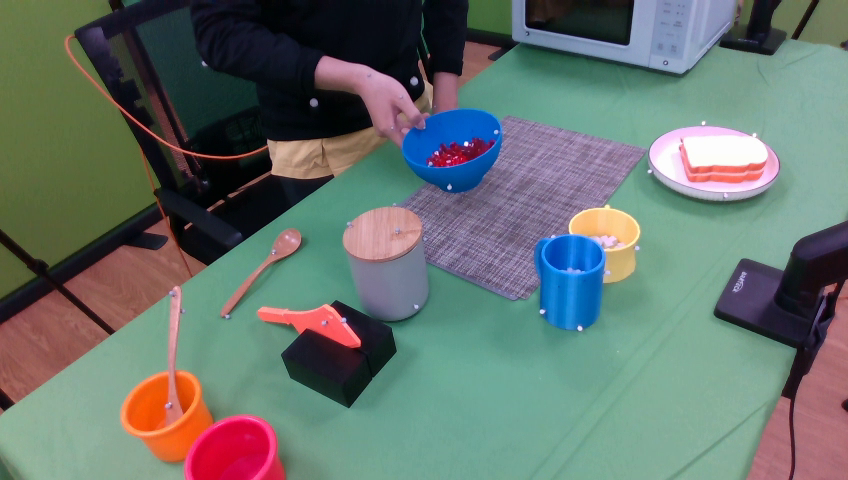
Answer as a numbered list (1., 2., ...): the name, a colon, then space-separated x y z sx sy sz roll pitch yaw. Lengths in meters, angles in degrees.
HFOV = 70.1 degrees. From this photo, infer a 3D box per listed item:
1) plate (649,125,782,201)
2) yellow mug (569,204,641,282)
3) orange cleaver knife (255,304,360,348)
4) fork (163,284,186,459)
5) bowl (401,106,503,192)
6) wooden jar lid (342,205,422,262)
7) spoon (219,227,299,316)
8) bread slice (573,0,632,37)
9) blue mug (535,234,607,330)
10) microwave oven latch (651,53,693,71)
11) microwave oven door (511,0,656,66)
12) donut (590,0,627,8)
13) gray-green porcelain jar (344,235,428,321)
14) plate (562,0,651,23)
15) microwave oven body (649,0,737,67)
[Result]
1. plate: 0.493 -0.128 1.036 0.207 0.039 0.206 -4 41 4
2. yellow mug: 0.268 -0.005 0.904 0.099 0.064 0.130 7 41 15
3. orange cleaver knife: -0.161 0.115 0.813 0.210 0.077 0.012 -4 32 46
4. fork: -0.302 0.157 0.733 0.028 0.019 0.207 -4 84 16
5. bowl: 0.047 -0.125 0.897 0.151 0.077 0.150 -9 42 8
6. wooden jar lid: -0.055 -0.006 0.808 0.108 0.021 0.108 -6 40 6
7. spoon: -0.261 0.046 0.954 0.041 0.021 0.194 27 48 10
8. bread slice: 0.429 -0.559 1.478 0.105 0.019 0.131 -27 69 -20
9. blue mug: 0.191 0.048 0.824 0.082 0.106 0.115 -26 44 -21
10. microwave oven latch: 0.532 -0.387 1.301 0.078 0.029 0.030 27 52 34
11. microwave oven door: 0.351 -0.539 1.349 0.353 0.245 0.039 24 50 31
12. donut: 0.438 -0.587 1.433 0.099 0.048 0.098 -2 53 3
13. gray-green porcelain jar: -0.049 0.042 0.849 0.106 0.127 0.105 -4 41 4
14. plate: 0.440 -0.573 1.455 0.209 0.038 0.208 -6 43 6
15. microwave oven body: 0.475 -0.602 1.411 0.438 0.261 0.327 23 50 32
